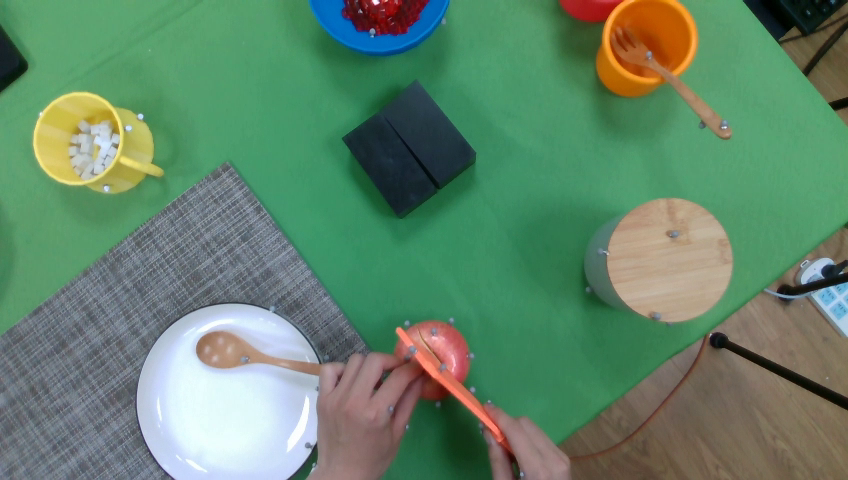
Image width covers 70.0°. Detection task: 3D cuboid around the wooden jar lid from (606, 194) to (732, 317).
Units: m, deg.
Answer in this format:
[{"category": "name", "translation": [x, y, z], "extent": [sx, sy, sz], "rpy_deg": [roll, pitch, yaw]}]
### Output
[{"category": "wooden jar lid", "translation": [0.213, 0.014, 0.534], "extent": [0.108, 0.021, 0.108], "rpy_deg": [0, 90, 2]}]

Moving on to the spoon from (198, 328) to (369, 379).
[{"category": "spoon", "translation": [-0.150, 0.126, 0.641], "extent": [0.193, 0.022, 0.041], "rpy_deg": [8, 76, 16]}]

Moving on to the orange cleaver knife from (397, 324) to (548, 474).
[{"category": "orange cleaver knife", "translation": [0.048, 0.152, 0.573], "extent": [0.012, 0.076, 0.213], "rpy_deg": [-44, 116, -2]}]

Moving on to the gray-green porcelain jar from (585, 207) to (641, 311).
[{"category": "gray-green porcelain jar", "translation": [0.219, 0.017, 0.595], "extent": [0.106, 0.126, 0.105], "rpy_deg": [0, 87, 4]}]

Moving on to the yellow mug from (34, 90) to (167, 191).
[{"category": "yellow mug", "translation": [-0.344, -0.101, 0.663], "extent": [0.131, 0.064, 0.100], "rpy_deg": [24, 89, 3]}]

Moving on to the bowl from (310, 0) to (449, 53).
[{"category": "bowl", "translation": [-0.042, -0.263, 0.644], "extent": [0.151, 0.077, 0.151], "rpy_deg": [0, 89, 4]}]

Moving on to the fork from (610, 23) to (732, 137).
[{"category": "fork", "translation": [0.235, -0.160, 0.588], "extent": [0.028, 0.019, 0.205], "rpy_deg": [-21, 44, 1]}]

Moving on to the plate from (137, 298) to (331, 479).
[{"category": "plate", "translation": [-0.202, 0.166, 0.657], "extent": [0.209, 0.038, 0.209], "rpy_deg": [0, 88, 3]}]

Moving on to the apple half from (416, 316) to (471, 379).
[{"category": "apple half", "translation": [0.028, 0.104, 0.630], "extent": [0.033, 0.081, 0.081], "rpy_deg": [-39, 86, 4]}]

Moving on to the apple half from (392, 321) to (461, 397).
[{"category": "apple half", "translation": [-0.004, 0.129, 0.632], "extent": [0.053, 0.074, 0.081], "rpy_deg": [-37, 90, 5]}]
